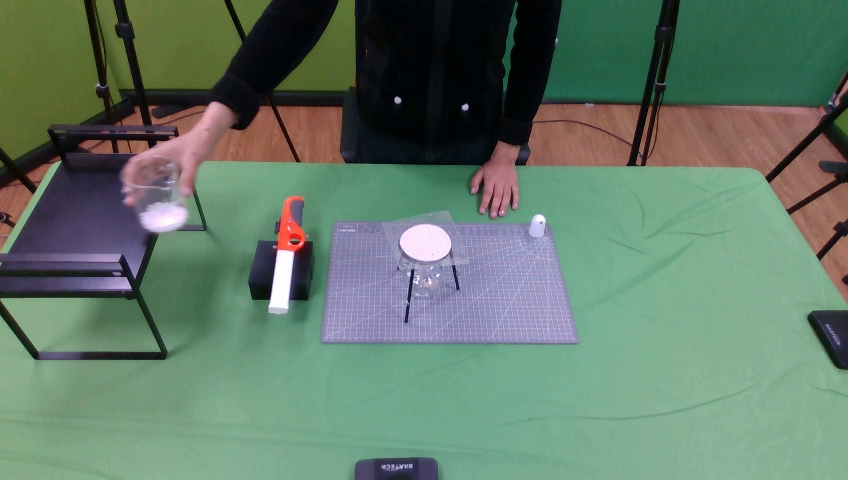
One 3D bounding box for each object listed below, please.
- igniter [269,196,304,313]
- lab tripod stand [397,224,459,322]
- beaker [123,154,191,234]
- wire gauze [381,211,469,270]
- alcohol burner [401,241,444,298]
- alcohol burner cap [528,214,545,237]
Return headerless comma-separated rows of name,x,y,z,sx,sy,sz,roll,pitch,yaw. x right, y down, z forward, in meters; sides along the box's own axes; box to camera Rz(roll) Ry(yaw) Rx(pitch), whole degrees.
igniter,-0.249,0.016,1.095,0.057,0.025,0.274,7,46,-12
lab tripod stand,-0.004,0.052,1.066,0.148,0.132,0.147,3,48,-3
beaker,-0.389,-0.064,0.898,0.083,0.101,0.074,33,52,23
wire gauze,0.000,0.001,1.023,0.125,0.011,0.120,-9,48,-13
alcohol burner,-0.001,0.048,1.084,0.078,0.119,0.077,2,44,-2
alcohol burner cap,0.231,-0.032,1.230,0.034,0.048,0.033,2,46,-2
